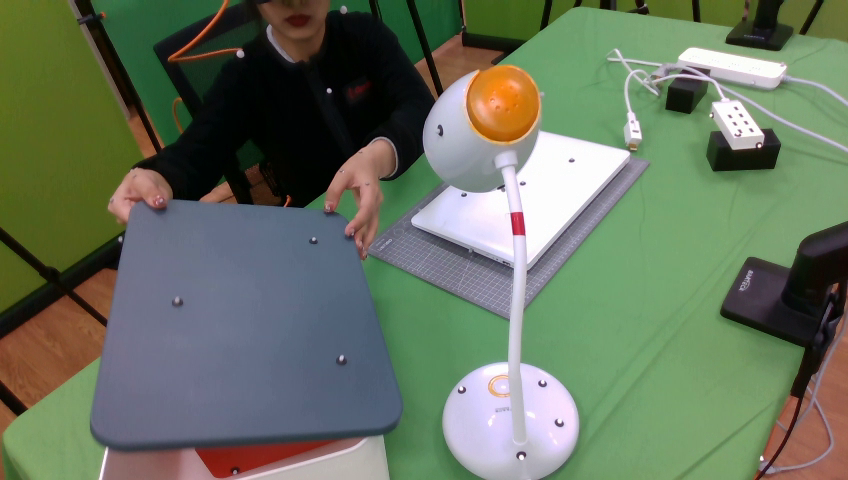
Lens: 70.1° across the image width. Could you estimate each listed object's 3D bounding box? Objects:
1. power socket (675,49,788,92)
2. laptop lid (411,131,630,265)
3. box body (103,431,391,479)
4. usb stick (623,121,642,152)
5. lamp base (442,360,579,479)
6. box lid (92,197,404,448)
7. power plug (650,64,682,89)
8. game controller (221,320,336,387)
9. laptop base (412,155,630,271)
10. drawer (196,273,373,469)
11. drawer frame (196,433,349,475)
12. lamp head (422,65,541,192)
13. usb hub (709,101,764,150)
[{"bbox_3d":[0.647,-0.363,1.284,0.225,0.033,0.072,26,53,35],"label":"power socket"},{"bbox_3d":[0.172,-0.094,1.050,0.239,0.013,0.358,23,49,36],"label":"laptop lid"},{"bbox_3d":[-0.190,0.161,0.723,0.255,0.161,0.361,-13,40,-5],"label":"box body"},{"bbox_3d":[0.389,-0.191,1.128,0.021,0.027,0.059,9,61,-9],"label":"usb stick"},{"bbox_3d":[0.094,0.158,0.657,0.161,0.181,0.178,-14,42,-5],"label":"lamp base"},{"bbox_3d":[-0.183,0.060,0.648,0.265,0.015,0.368,4,33,-22],"label":"box lid"},{"bbox_3d":[0.498,-0.341,1.263,0.035,0.052,0.072,20,10,-7],"label":"power plug"},{"bbox_3d":[-0.196,0.144,0.812,0.155,0.051,0.096,-18,12,-10],"label":"game controller"},{"bbox_3d":[0.176,-0.085,1.056,0.233,0.023,0.355,20,48,36],"label":"laptop base"},{"bbox_3d":[-0.183,0.158,0.773,0.195,0.073,0.210,-17,41,-7],"label":"drawer"},{"bbox_3d":[-0.180,0.159,0.772,0.202,0.083,0.212,-17,42,-8],"label":"drawer frame"},{"bbox_3d":[0.060,-0.106,0.560,0.113,0.112,0.122,-17,1,-8],"label":"lamp head"},{"bbox_3d":[0.534,-0.199,1.040,0.049,0.025,0.124,-5,39,8],"label":"usb hub"}]
